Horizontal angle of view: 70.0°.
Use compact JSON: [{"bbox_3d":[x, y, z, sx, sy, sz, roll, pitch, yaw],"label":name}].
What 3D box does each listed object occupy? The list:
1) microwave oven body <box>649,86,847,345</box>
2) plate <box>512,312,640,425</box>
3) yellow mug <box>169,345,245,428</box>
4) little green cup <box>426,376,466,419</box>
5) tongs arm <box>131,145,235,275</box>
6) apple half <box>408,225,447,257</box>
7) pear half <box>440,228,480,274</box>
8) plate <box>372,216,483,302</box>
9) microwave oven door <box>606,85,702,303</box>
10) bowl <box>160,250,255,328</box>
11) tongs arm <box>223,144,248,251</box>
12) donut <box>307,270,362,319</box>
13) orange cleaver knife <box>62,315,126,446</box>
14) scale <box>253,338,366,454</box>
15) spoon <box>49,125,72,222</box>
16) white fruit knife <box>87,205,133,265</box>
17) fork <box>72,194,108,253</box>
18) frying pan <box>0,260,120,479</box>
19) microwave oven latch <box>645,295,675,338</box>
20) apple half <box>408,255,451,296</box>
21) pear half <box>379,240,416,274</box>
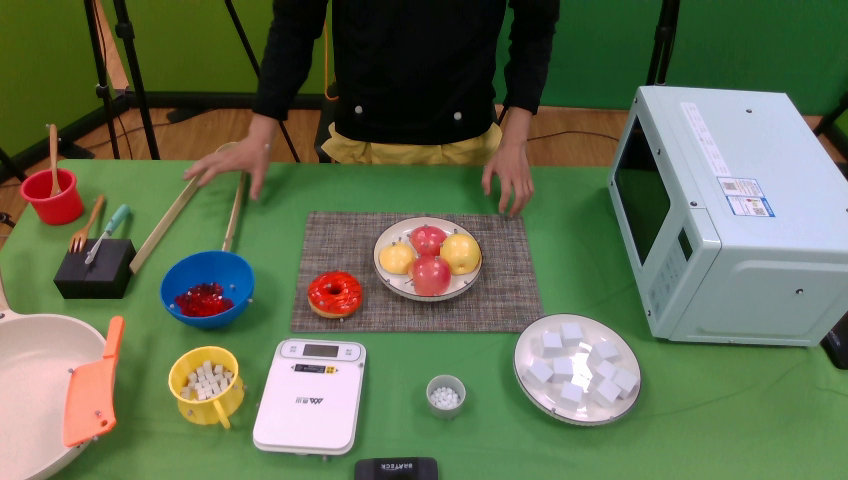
[{"bbox_3d":[0.567,-0.053,1.118,0.326,0.261,0.439,2,45,-1],"label":"microwave oven body"},{"bbox_3d":[0.246,0.213,0.999,0.208,0.039,0.206,2,46,-2],"label":"plate"},{"bbox_3d":[-0.322,0.230,0.922,0.100,0.064,0.130,-24,53,-25],"label":"yellow mug"},{"bbox_3d":[0.033,0.248,0.950,0.061,0.039,0.061,2,46,-2],"label":"little green cup"},{"bbox_3d":[-0.484,-0.075,1.236,0.028,0.028,0.385,5,45,13],"label":"tongs arm"},{"bbox_3d":[0.011,-0.006,1.176,0.081,0.033,0.081,2,53,-3],"label":"apple half"},{"bbox_3d":[0.065,0.007,1.149,0.076,0.056,0.109,-11,44,-2],"label":"pear half"},{"bbox_3d":[0.006,0.038,1.145,0.209,0.038,0.208,2,46,-2],"label":"plate"},{"bbox_3d":[0.422,-0.094,1.140,0.039,0.245,0.353,2,46,-1],"label":"microwave oven door"},{"bbox_3d":[-0.362,0.098,1.040,0.151,0.077,0.150,2,45,-2],"label":"bowl"},{"bbox_3d":[-0.398,-0.072,1.232,0.051,0.027,0.382,-3,45,0],"label":"tongs arm"},{"bbox_3d":[-0.158,0.097,1.073,0.099,0.048,0.098,4,45,-4],"label":"donut"},{"bbox_3d":[-0.480,0.199,0.887,0.077,0.012,0.210,-9,47,-8],"label":"orange cleaver knife"},{"bbox_3d":[-0.175,0.236,0.951,0.149,0.032,0.199,4,45,-1],"label":"scale"},{"bbox_3d":[-0.718,-0.131,1.189,0.041,0.021,0.193,-4,90,-7],"label":"spoon"},{"bbox_3d":[-0.584,-0.013,1.129,0.016,0.027,0.206,-1,32,-4],"label":"white fruit knife"},{"bbox_3d":[-0.634,-0.036,1.158,0.028,0.019,0.206,-7,31,-9],"label":"fork"},{"bbox_3d":[-0.647,0.164,0.936,0.307,0.103,0.485,-19,58,-22],"label":"frying pan"},{"bbox_3d":[0.411,0.134,1.061,0.030,0.029,0.078,3,45,0],"label":"microwave oven latch"},{"bbox_3d":[0.012,0.058,1.103,0.075,0.053,0.080,-6,44,-13],"label":"apple half"},{"bbox_3d":[-0.048,0.024,1.146,0.070,0.031,0.087,11,47,-12],"label":"pear half"}]
